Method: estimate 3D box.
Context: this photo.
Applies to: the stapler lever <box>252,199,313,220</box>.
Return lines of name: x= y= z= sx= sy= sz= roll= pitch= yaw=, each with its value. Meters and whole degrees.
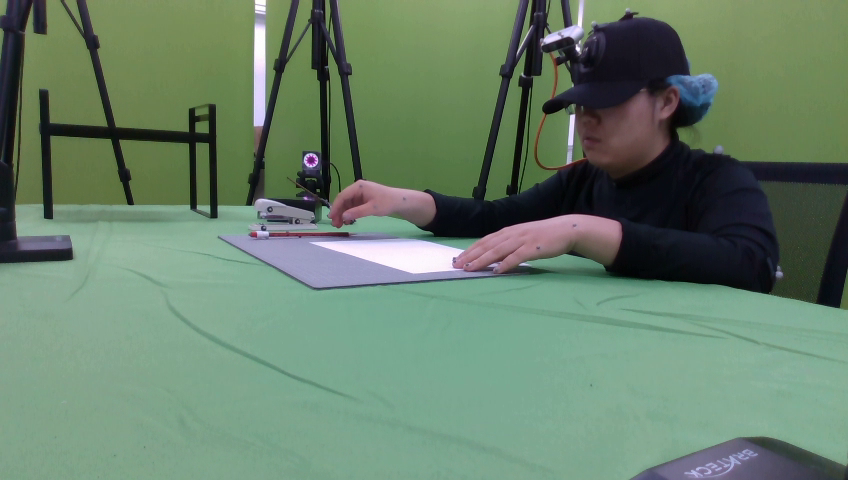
stapler lever: x=-0.273 y=-0.058 z=1.170 sx=0.119 sy=0.040 sz=0.026 roll=0 pitch=10 yaw=-37

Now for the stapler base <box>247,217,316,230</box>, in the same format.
stapler base: x=-0.276 y=-0.033 z=1.172 sx=0.131 sy=0.024 sz=0.041 roll=0 pitch=10 yaw=-37

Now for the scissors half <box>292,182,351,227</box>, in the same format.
scissors half: x=-0.232 y=-0.085 z=1.317 sx=0.175 sy=0.013 sz=0.040 roll=38 pitch=20 yaw=4

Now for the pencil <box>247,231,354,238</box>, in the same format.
pencil: x=-0.206 y=-0.008 z=1.039 sx=0.195 sy=0.012 sz=0.012 roll=0 pitch=7 yaw=-36

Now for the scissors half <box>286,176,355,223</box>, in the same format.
scissors half: x=-0.229 y=-0.091 z=1.337 sx=0.175 sy=0.013 sz=0.040 roll=33 pitch=15 yaw=-13
